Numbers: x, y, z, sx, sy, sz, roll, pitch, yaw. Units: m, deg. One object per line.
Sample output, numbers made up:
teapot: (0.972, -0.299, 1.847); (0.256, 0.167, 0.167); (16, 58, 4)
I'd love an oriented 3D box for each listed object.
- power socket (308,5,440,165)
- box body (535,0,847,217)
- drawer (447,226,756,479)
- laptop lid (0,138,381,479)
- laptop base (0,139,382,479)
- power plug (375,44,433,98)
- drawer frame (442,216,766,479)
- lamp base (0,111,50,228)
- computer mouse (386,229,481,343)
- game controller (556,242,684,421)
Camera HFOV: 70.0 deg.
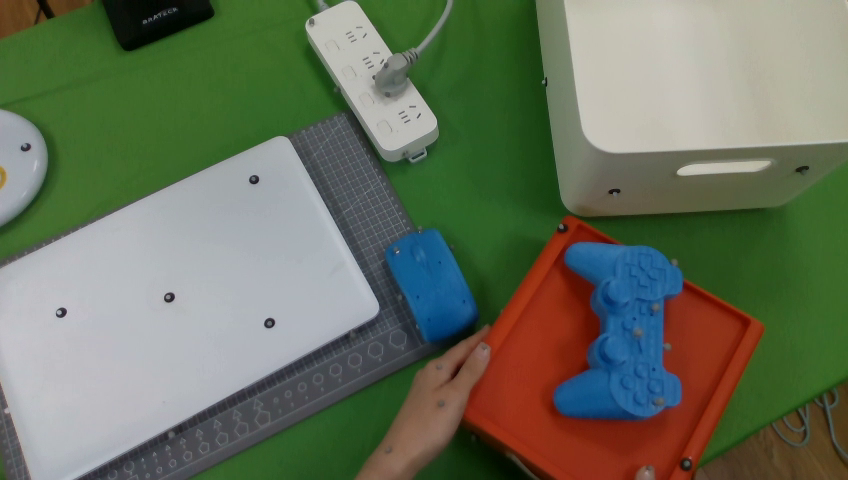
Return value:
power socket: (-0.060, -0.183, 0.698); (0.072, 0.033, 0.225); (-28, 70, -10)
box body: (0.256, -0.213, 0.628); (0.254, 0.161, 0.361); (-3, 69, 1)
drawer: (0.156, 0.124, 0.546); (0.193, 0.074, 0.211); (31, 72, 14)
laptop lid: (-0.247, 0.060, 0.605); (0.357, 0.013, 0.240); (-27, 73, -8)
laptop base: (-0.248, 0.062, 0.617); (0.354, 0.023, 0.234); (-28, 74, -9)
power plug: (-0.019, -0.180, 0.671); (0.072, 0.053, 0.035); (-18, 68, -6)
drawer frame: (0.156, 0.120, 0.546); (0.200, 0.083, 0.213); (31, 73, 14)
lamp base: (-0.514, -0.108, 0.607); (0.178, 0.181, 0.160); (20, 70, 13)
computer mouse: (0.008, 0.042, 0.603); (0.063, 0.041, 0.116); (-23, 66, -6)
game controller: (0.166, 0.074, 0.508); (0.097, 0.052, 0.154); (9, 70, 1)
